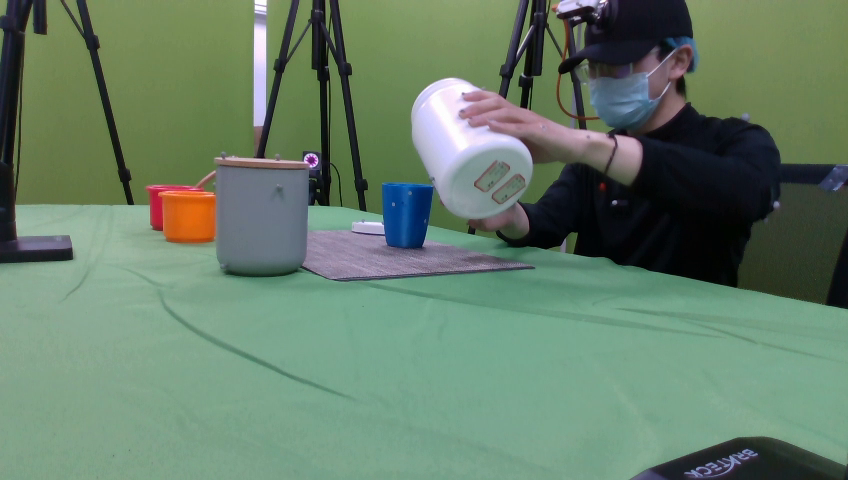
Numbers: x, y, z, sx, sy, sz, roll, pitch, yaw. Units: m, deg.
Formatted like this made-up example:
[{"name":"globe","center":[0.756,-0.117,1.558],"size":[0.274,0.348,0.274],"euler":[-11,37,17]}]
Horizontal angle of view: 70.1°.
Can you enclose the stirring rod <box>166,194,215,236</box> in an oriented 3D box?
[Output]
[{"name":"stirring rod","center":[-0.341,-0.066,0.967],"size":[0.176,0.006,0.014],"euler":[-42,23,-9]}]

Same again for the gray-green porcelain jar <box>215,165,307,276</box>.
[{"name":"gray-green porcelain jar","center":[-0.195,-0.024,0.726],"size":[0.106,0.126,0.106],"euler":[3,7,0]}]

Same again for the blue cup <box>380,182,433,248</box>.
[{"name":"blue cup","center":[-0.029,-0.042,0.980],"size":[0.093,0.100,0.092],"euler":[2,9,0]}]

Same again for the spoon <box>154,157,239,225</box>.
[{"name":"spoon","center":[-0.411,-0.092,1.105],"size":[0.041,0.022,0.194],"euler":[13,56,51]}]

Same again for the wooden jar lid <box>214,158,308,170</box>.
[{"name":"wooden jar lid","center":[-0.193,-0.085,0.719],"size":[0.108,0.020,0.108],"euler":[2,9,0]}]

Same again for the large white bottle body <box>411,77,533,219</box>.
[{"name":"large white bottle body","center":[0.059,-0.133,0.841],"size":[0.131,0.130,0.184],"euler":[-1,44,-23]}]

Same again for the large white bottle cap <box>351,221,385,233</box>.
[{"name":"large white bottle cap","center":[-0.082,-0.025,1.162],"size":[0.115,0.018,0.115],"euler":[4,4,0]}]
